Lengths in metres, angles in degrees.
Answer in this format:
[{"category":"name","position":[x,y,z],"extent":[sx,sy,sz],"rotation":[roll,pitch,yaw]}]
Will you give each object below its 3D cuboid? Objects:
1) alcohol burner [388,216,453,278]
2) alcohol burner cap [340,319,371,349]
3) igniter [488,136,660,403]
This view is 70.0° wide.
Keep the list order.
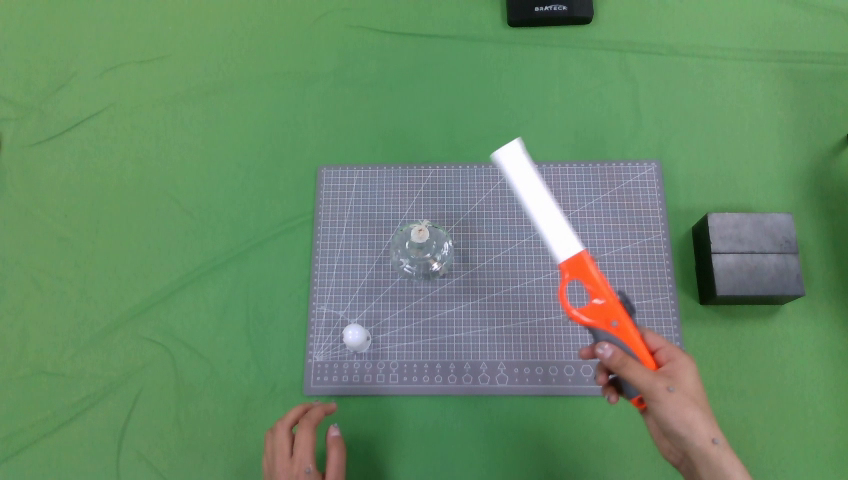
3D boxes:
[{"category":"alcohol burner","position":[-0.004,0.003,0.708],"extent":[0.078,0.120,0.077],"rotation":[0,72,1]},{"category":"alcohol burner cap","position":[-0.083,0.110,0.715],"extent":[0.034,0.048,0.033],"rotation":[-1,72,4]},{"category":"igniter","position":[0.142,0.024,0.576],"extent":[0.057,0.025,0.275],"rotation":[-30,80,6]}]
